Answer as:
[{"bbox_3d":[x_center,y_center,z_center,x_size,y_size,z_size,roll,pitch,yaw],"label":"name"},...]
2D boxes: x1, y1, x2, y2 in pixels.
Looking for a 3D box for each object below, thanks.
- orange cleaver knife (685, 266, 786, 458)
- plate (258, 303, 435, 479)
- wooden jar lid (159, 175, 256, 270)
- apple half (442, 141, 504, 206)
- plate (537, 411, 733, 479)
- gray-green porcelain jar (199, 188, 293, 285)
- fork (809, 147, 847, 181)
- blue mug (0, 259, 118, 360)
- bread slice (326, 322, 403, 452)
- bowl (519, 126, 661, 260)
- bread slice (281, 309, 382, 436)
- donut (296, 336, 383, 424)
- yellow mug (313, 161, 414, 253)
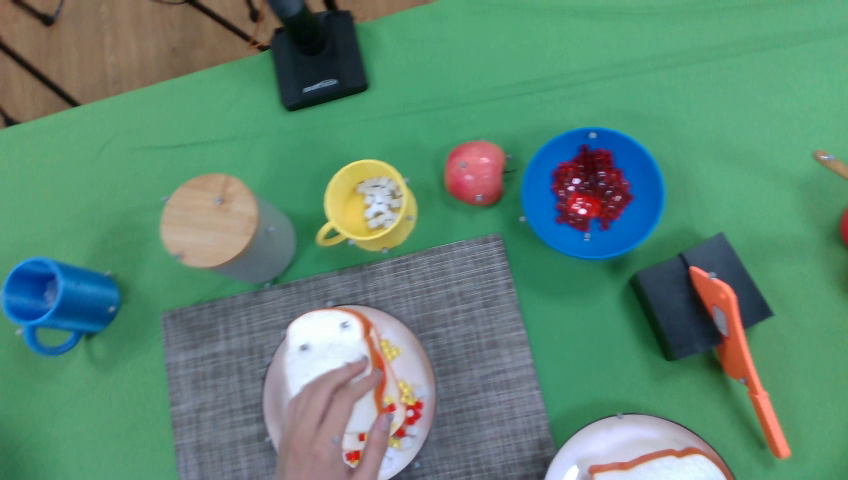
[{"bbox_3d":[0.321,0.125,0.630,0.012,0.077,0.212,-24,97,-4],"label":"orange cleaver knife"},{"bbox_3d":[-0.088,0.178,0.705,0.207,0.039,0.206,-2,78,9],"label":"plate"},{"bbox_3d":[-0.234,-0.018,0.663,0.108,0.021,0.108,-2,75,7],"label":"wooden jar lid"},{"bbox_3d":[0.059,-0.086,0.735,0.074,0.054,0.080,8,80,14],"label":"apple half"},{"bbox_3d":[0.220,0.285,0.634,0.209,0.038,0.208,-2,78,11],"label":"plate"},{"bbox_3d":[-0.222,-0.004,0.725,0.106,0.127,0.105,-2,77,9],"label":"gray-green porcelain jar"},{"bbox_3d":[0.449,-0.046,0.612,0.209,0.018,0.028,24,79,-29],"label":"fork"},{"bbox_3d":[-0.455,0.090,0.752,0.082,0.106,0.116,7,79,11],"label":"blue mug"},{"bbox_3d":[-0.084,0.175,0.705,0.107,0.018,0.133,-31,77,3],"label":"bread slice"},{"bbox_3d":[0.184,-0.044,0.691,0.151,0.077,0.150,-2,78,9],"label":"bowl"},{"bbox_3d":[-0.101,0.137,0.623,0.104,0.019,0.131,-7,88,16],"label":"bread slice"},{"bbox_3d":[-0.095,0.157,0.681,0.099,0.048,0.098,-2,78,9],"label":"donut"},{"bbox_3d":[-0.080,-0.030,0.738,0.131,0.064,0.099,-36,74,1],"label":"yellow mug"}]
